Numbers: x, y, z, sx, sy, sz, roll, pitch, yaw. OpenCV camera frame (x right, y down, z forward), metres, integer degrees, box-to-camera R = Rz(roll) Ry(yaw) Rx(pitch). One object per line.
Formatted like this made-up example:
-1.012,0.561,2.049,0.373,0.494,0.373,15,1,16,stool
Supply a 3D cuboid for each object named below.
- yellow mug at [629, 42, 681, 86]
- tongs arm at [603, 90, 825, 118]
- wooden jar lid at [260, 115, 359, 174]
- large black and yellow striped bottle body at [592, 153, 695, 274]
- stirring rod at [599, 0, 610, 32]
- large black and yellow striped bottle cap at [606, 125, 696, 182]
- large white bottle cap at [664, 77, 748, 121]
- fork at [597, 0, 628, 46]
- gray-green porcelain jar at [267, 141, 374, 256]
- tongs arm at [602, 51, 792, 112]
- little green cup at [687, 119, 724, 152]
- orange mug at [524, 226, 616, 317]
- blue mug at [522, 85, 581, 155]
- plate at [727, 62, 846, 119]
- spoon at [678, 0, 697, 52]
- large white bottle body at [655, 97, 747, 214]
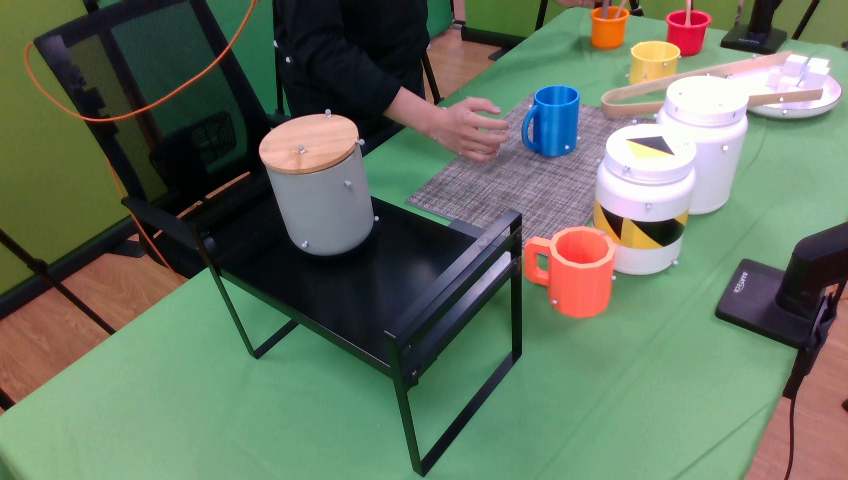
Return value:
0.495,-0.389,1.321,0.100,0.064,0.130,-14,40,-6,yellow mug
0.546,-0.262,1.163,0.386,0.028,0.028,-1,49,18,tongs arm
-0.124,-0.101,0.662,0.108,0.021,0.108,-4,41,4,wooden jar lid
0.313,-0.056,0.872,0.131,0.185,0.130,-4,41,4,large black and yellow striped bottle body
0.442,-0.587,1.449,0.014,0.176,0.006,9,4,14,stirring rod
0.305,-0.119,0.816,0.115,0.019,0.114,-5,41,5,large black and yellow striped bottle cap
0.421,-0.212,0.905,0.115,0.018,0.114,-4,40,4,large white bottle cap
0.478,-0.558,1.456,0.028,0.019,0.207,34,100,37,fork
-0.117,-0.054,0.703,0.106,0.127,0.105,-4,40,4,gray-green porcelain jar
0.552,-0.320,1.224,0.384,0.027,0.050,-10,43,7,tongs arm
0.514,-0.191,1.109,0.061,0.039,0.061,-5,40,5,little green cup
0.201,0.038,0.845,0.125,0.101,0.083,18,46,21,orange mug
0.233,-0.218,1.127,0.117,0.106,0.081,-23,43,-16,blue mug
0.709,-0.292,1.197,0.207,0.039,0.206,-4,40,4,plate
0.614,-0.526,1.402,0.041,0.022,0.193,3,86,11,spoon
0.430,-0.148,0.959,0.130,0.185,0.130,-4,41,4,large white bottle body
